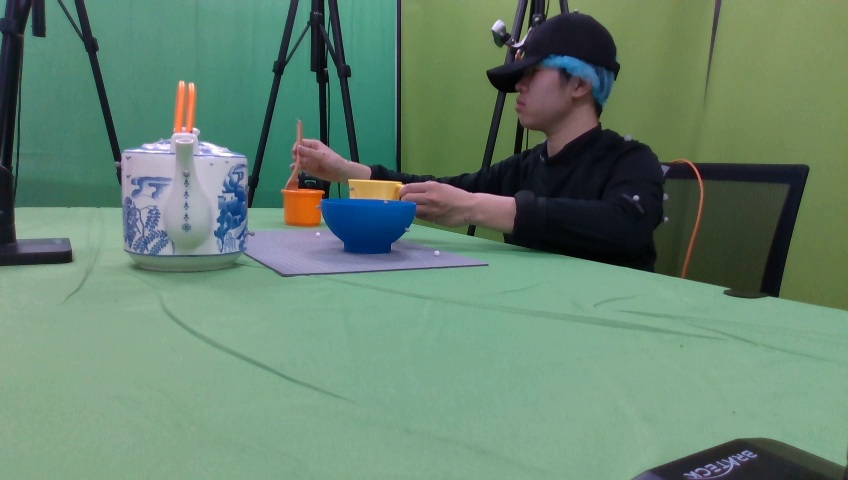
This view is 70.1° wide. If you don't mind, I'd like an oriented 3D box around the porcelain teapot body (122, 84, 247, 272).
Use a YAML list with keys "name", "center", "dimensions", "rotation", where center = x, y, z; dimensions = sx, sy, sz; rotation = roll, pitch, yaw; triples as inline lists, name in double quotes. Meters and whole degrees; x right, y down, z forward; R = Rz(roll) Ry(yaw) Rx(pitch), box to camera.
- name: "porcelain teapot body"
  center: [-0.286, -0.075, 0.733]
  dimensions: [0.146, 0.225, 0.204]
  rotation: [0, 8, -24]

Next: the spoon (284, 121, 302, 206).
- name: "spoon"
  center: [-0.278, -0.167, 1.311]
  dimensions: [0.021, 0.193, 0.042]
  rotation: [-2, -14, 33]

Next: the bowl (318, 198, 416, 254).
- name: "bowl"
  center: [-0.089, -0.022, 0.941]
  dimensions: [0.151, 0.077, 0.151]
  rotation: [2, 7, 0]

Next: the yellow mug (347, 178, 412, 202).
- name: "yellow mug"
  center: [-0.079, -0.077, 1.103]
  dimensions: [0.130, 0.064, 0.100]
  rotation: [7, 8, 28]

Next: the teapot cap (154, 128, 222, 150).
- name: "teapot cap"
  center: [-0.294, -0.117, 0.754]
  dimensions: [0.085, 0.044, 0.085]
  rotation: [4, 9, 0]
